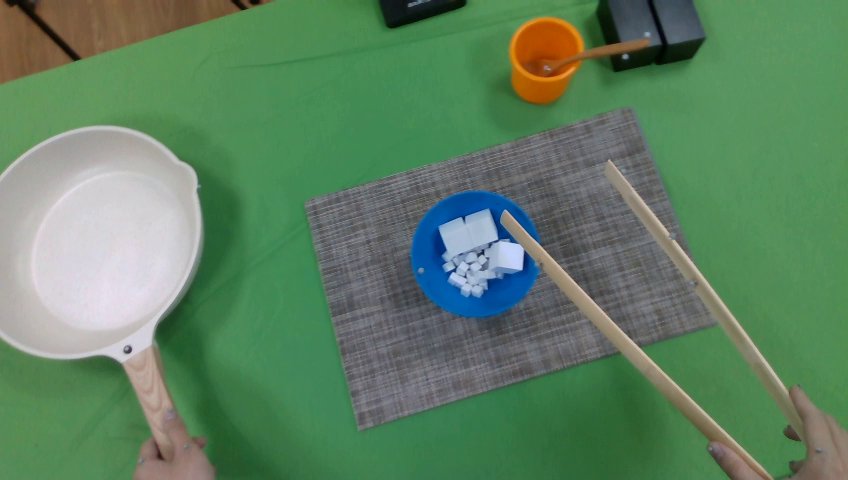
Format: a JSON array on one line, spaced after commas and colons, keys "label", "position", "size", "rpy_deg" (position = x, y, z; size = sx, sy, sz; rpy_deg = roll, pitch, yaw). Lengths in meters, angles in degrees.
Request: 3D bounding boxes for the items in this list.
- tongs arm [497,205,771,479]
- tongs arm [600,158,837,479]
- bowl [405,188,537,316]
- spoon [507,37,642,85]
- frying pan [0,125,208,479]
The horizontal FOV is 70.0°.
[{"label": "tongs arm", "position": [0.201, 0.098, 0.580], "size": [0.028, 0.028, 0.384], "rpy_deg": [-30, 64, -25]}, {"label": "tongs arm", "position": [0.268, 0.067, 0.602], "size": [0.051, 0.027, 0.381], "rpy_deg": [-21, 61, -17]}, {"label": "bowl", "position": [0.057, 0.021, 0.726], "size": [0.151, 0.077, 0.150], "rpy_deg": [-1, 76, 3]}, {"label": "spoon", "position": [0.178, -0.224, 0.748], "size": [0.022, 0.192, 0.041], "rpy_deg": [31, 72, -34]}, {"label": "frying pan", "position": [-0.365, 0.083, 0.724], "size": [0.307, 0.103, 0.483], "rpy_deg": [-31, 68, -4]}]
